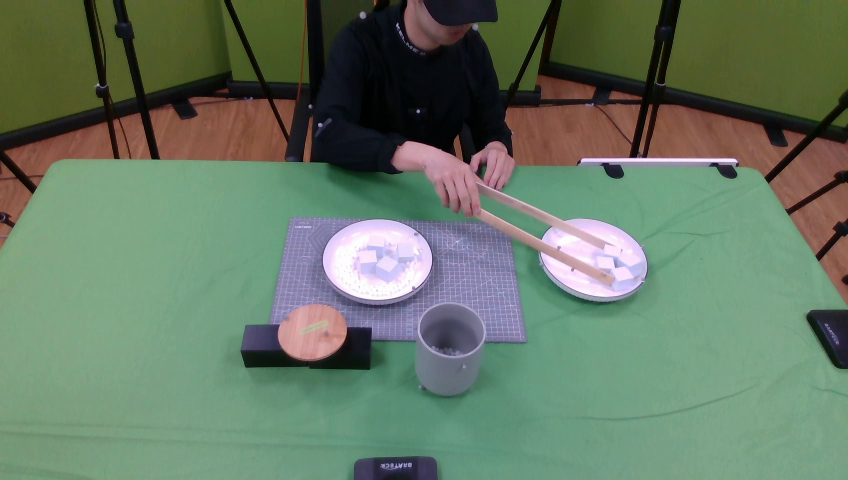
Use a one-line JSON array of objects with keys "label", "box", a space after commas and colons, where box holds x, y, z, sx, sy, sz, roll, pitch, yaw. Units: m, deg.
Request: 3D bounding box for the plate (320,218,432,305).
[{"label": "plate", "box": [-0.089, 0.044, 1.134, 0.209, 0.038, 0.208, 3, 46, -2]}]

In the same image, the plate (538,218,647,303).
[{"label": "plate", "box": [0.322, 0.042, 1.171, 0.208, 0.039, 0.206, 2, 46, -2]}]

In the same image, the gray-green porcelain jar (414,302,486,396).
[{"label": "gray-green porcelain jar", "box": [0.038, 0.177, 0.958, 0.106, 0.127, 0.105, 2, 46, -2]}]

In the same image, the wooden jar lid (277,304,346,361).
[{"label": "wooden jar lid", "box": [-0.179, 0.150, 0.972, 0.108, 0.021, 0.107, 2, 45, -2]}]

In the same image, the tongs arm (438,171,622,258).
[{"label": "tongs arm", "box": [0.206, -0.052, 1.193, 0.387, 0.028, 0.028, 25, 52, 4]}]

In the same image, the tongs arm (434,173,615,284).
[{"label": "tongs arm", "box": [0.188, -0.024, 1.163, 0.384, 0.026, 0.050, 26, 49, 5]}]
